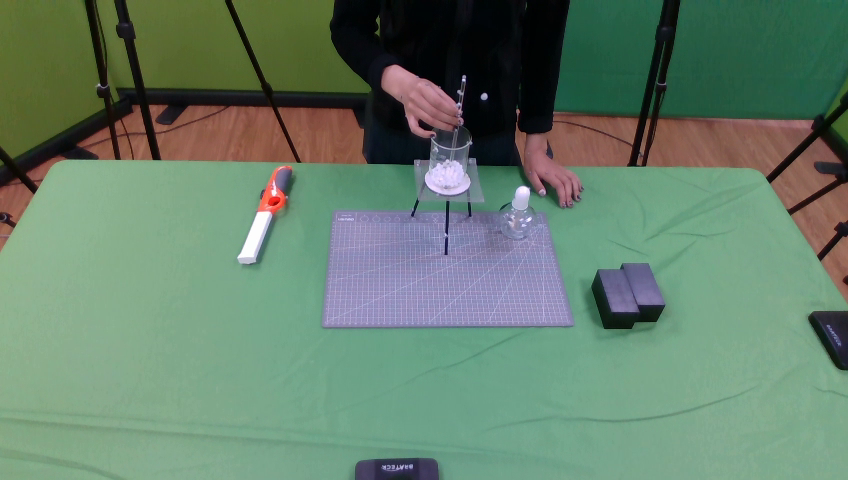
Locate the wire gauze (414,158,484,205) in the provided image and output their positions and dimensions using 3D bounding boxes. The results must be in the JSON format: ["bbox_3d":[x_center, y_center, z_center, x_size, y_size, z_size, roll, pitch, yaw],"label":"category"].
[{"bbox_3d":[0.045,-0.113,1.137,0.125,0.011,0.120,2,48,-6],"label":"wire gauze"}]

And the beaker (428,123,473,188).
[{"bbox_3d":[0.044,-0.154,1.110,0.074,0.101,0.083,-25,54,-25],"label":"beaker"}]

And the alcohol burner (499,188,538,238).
[{"bbox_3d":[0.189,-0.060,1.202,0.078,0.120,0.077,1,48,-1],"label":"alcohol burner"}]

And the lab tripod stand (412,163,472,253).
[{"bbox_3d":[0.043,-0.069,1.187,0.148,0.132,0.147,3,47,-3],"label":"lab tripod stand"}]

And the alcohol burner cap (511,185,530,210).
[{"bbox_3d":[0.190,-0.085,1.176,0.034,0.048,0.033,3,50,-3],"label":"alcohol burner cap"}]

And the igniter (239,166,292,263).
[{"bbox_3d":[-0.318,-0.060,1.229,0.057,0.025,0.275,-2,45,9],"label":"igniter"}]

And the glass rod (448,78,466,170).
[{"bbox_3d":[0.057,-0.203,1.082,0.008,0.200,0.008,4,48,-4],"label":"glass rod"}]
